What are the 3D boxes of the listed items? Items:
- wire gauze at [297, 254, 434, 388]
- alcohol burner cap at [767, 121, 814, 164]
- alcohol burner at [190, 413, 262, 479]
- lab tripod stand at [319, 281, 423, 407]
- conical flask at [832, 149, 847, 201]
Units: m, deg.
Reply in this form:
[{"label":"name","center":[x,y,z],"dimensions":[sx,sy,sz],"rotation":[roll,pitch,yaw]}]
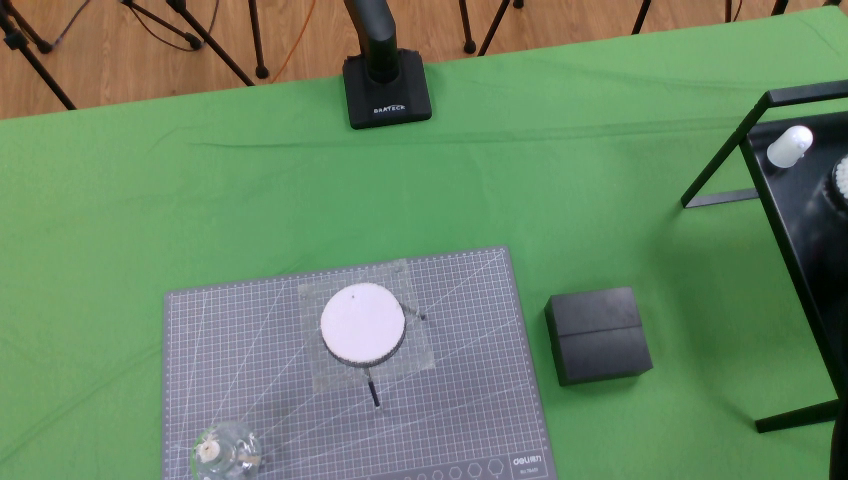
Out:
[{"label":"wire gauze","center":[-0.063,0.083,0.629],"dimensions":[0.125,0.011,0.120],"rotation":[-12,69,-5]},{"label":"alcohol burner cap","center":[0.385,-0.104,0.632],"dimensions":[0.034,0.048,0.033],"rotation":[0,69,1]},{"label":"alcohol burner","center":[-0.219,0.225,0.656],"dimensions":[0.078,0.120,0.077],"rotation":[1,66,-1]},{"label":"lab tripod stand","center":[-0.061,0.106,0.692],"dimensions":[0.148,0.132,0.147],"rotation":[0,66,0]},{"label":"conical flask","center":[0.462,-0.084,0.580],"dimensions":[0.075,0.122,0.075],"rotation":[0,68,0]}]
